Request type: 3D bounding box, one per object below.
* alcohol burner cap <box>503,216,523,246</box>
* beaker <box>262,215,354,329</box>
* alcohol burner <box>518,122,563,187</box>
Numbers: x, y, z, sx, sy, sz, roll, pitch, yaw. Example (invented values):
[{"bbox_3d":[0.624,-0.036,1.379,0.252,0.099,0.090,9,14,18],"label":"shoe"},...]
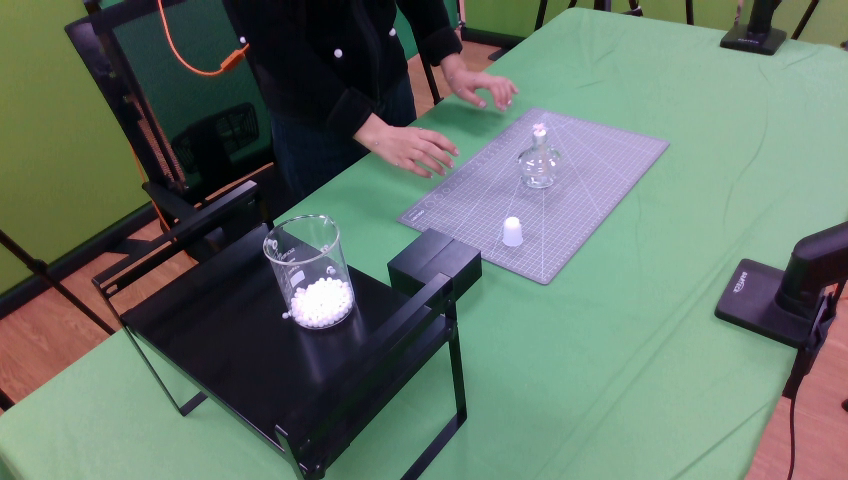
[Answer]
[{"bbox_3d":[0.140,-0.017,0.954,0.034,0.048,0.033,-4,42,4],"label":"alcohol burner cap"},{"bbox_3d":[-0.112,0.034,0.616,0.073,0.101,0.084,13,44,23],"label":"beaker"},{"bbox_3d":[0.201,-0.151,1.046,0.078,0.119,0.077,-6,42,5],"label":"alcohol burner"}]
